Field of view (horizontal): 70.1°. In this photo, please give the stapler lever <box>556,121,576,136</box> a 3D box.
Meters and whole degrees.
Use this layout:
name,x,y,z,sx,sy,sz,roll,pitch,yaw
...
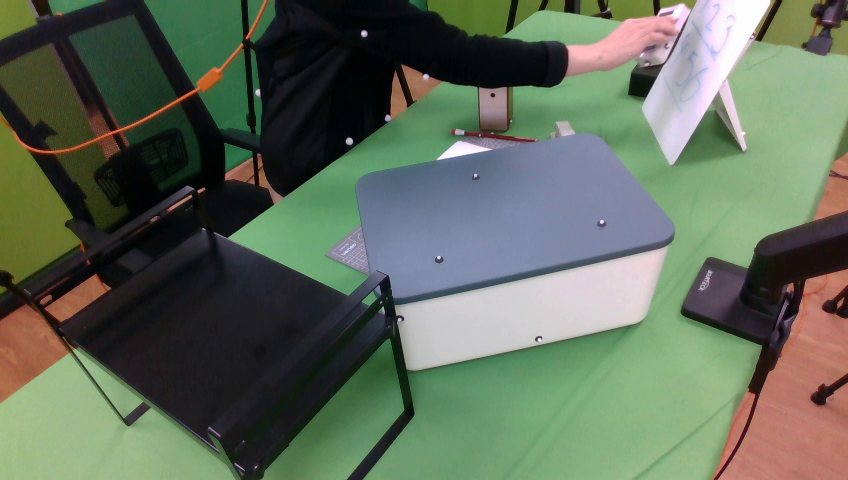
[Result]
name,x,y,z,sx,sy,sz,roll,pitch,yaw
stapler lever,0.266,-0.198,1.128,0.027,0.040,0.117,1,38,3

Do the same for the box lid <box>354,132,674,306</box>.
name,x,y,z,sx,sy,sz,roll,pitch,yaw
box lid,0.103,-0.042,0.785,0.372,0.015,0.261,-12,41,-5

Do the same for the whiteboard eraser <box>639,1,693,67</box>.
name,x,y,z,sx,sy,sz,roll,pitch,yaw
whiteboard eraser,0.422,-0.355,1.050,0.112,0.042,0.055,-64,23,-8

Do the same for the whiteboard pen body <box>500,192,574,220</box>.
name,x,y,z,sx,sy,sz,roll,pitch,yaw
whiteboard pen body,0.191,-0.059,1.011,0.141,0.017,0.017,-18,42,-15

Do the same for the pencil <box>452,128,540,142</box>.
name,x,y,z,sx,sy,sz,roll,pitch,yaw
pencil,0.147,-0.207,1.205,0.193,0.012,0.012,10,43,19

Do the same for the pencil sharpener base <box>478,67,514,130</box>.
name,x,y,z,sx,sy,sz,roll,pitch,yaw
pencil sharpener base,0.148,-0.287,1.224,0.061,0.107,0.076,5,42,15

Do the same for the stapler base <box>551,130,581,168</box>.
name,x,y,z,sx,sy,sz,roll,pitch,yaw
stapler base,0.268,-0.178,1.142,0.041,0.024,0.130,1,37,3

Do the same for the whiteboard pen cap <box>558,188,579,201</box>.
name,x,y,z,sx,sy,sz,roll,pitch,yaw
whiteboard pen cap,0.245,-0.076,1.028,0.033,0.018,0.018,-18,42,-15

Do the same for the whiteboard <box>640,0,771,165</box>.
name,x,y,z,sx,sy,sz,roll,pitch,yaw
whiteboard,0.543,-0.299,1.076,0.144,0.305,0.216,12,40,-7

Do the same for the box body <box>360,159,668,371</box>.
name,x,y,z,sx,sy,sz,roll,pitch,yaw
box body,0.108,0.014,0.833,0.365,0.161,0.252,-11,41,-5

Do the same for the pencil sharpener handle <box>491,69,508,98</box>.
name,x,y,z,sx,sy,sz,roll,pitch,yaw
pencil sharpener handle,0.155,-0.330,1.254,0.036,0.068,0.030,17,43,3
